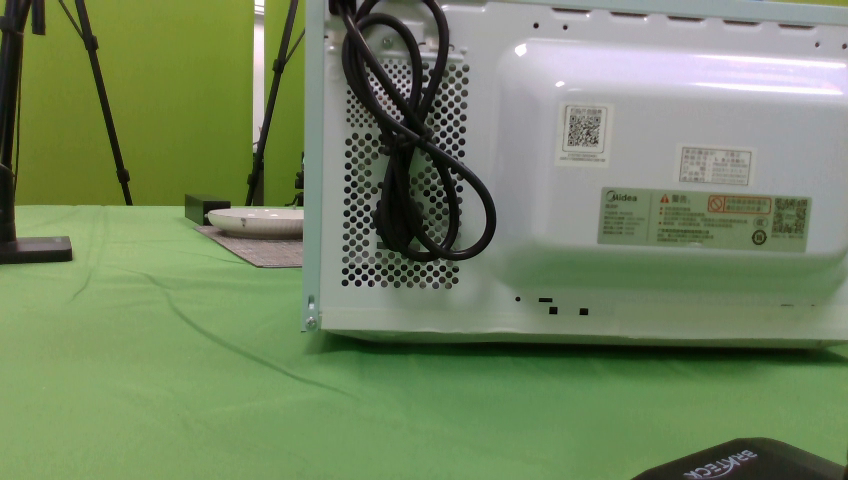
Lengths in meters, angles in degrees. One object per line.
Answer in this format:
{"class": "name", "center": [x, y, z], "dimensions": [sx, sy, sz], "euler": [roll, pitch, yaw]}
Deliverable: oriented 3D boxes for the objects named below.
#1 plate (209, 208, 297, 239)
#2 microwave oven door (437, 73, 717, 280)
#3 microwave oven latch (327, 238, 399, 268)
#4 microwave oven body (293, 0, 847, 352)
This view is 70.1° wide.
{"class": "plate", "center": [-0.271, -0.029, 1.074], "dimensions": [0.208, 0.039, 0.207], "euler": [3, 7, 0]}
{"class": "microwave oven door", "center": [0.182, -0.089, 0.799], "dimensions": [0.354, 0.243, 0.039], "euler": [7, 8, 32]}
{"class": "microwave oven latch", "center": [-0.069, 0.015, 0.694], "dimensions": [0.079, 0.029, 0.030], "euler": [3, 7, -3]}
{"class": "microwave oven body", "center": [0.122, -0.055, 0.550], "dimensions": [0.442, 0.260, 0.325], "euler": [3, 7, -5]}
